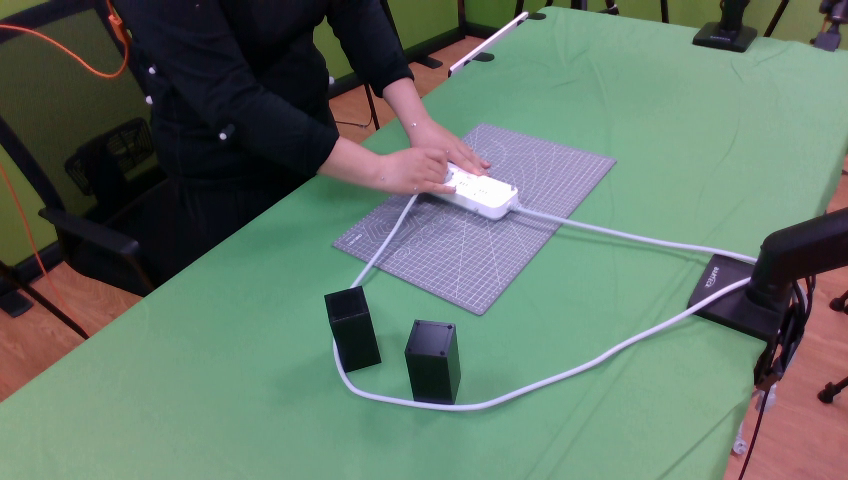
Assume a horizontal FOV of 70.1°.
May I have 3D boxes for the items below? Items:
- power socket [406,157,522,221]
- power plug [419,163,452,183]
[{"bbox_3d":[0.063,-0.092,1.056,0.225,0.033,0.072,26,49,33],"label":"power socket"},{"bbox_3d":[0.016,-0.106,1.047,0.073,0.053,0.035,-27,44,-22],"label":"power plug"}]
